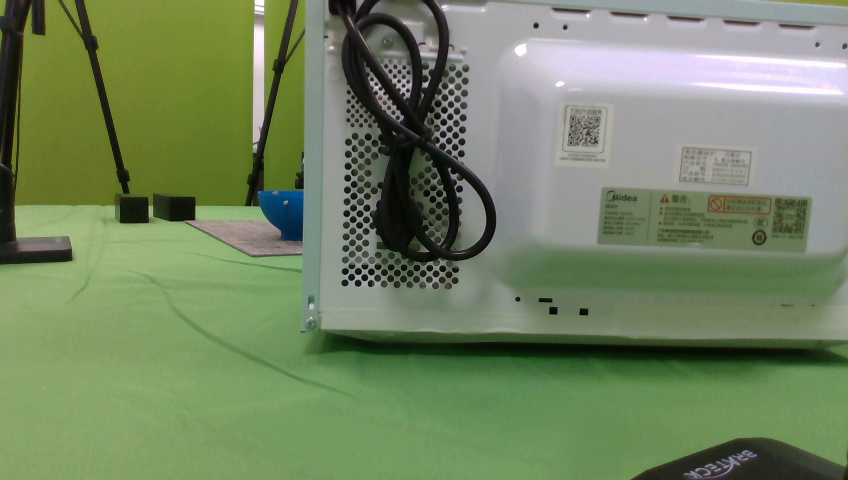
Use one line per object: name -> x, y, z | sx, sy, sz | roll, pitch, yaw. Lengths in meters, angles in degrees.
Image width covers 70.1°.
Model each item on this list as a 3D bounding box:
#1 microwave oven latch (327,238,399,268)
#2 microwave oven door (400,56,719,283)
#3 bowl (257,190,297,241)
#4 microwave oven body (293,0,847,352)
microwave oven latch -> -0.069, 0.015, 0.694 | 0.079, 0.029, 0.030 | 3, 7, -3
microwave oven door -> 0.155, -0.077, 0.698 | 0.356, 0.243, 0.039 | 2, 8, -5
bowl -> -0.206, -0.041, 1.027 | 0.151, 0.077, 0.151 | 3, 8, 0
microwave oven body -> 0.122, -0.055, 0.550 | 0.442, 0.260, 0.325 | 3, 7, -5
